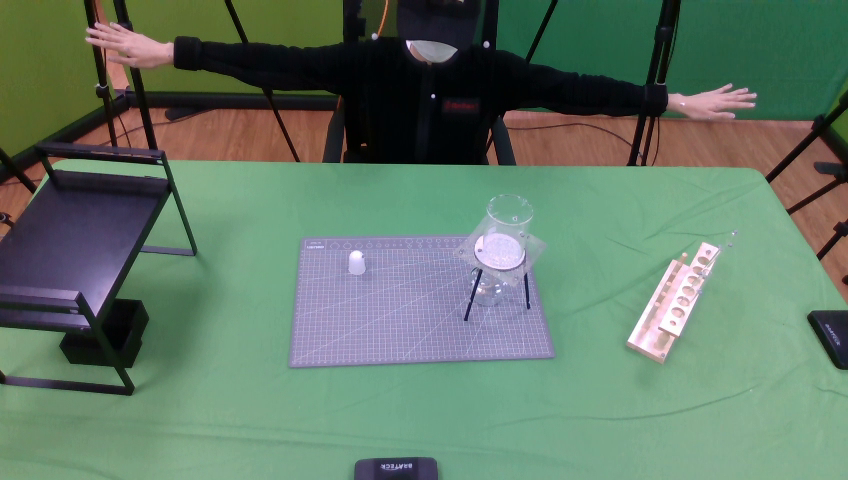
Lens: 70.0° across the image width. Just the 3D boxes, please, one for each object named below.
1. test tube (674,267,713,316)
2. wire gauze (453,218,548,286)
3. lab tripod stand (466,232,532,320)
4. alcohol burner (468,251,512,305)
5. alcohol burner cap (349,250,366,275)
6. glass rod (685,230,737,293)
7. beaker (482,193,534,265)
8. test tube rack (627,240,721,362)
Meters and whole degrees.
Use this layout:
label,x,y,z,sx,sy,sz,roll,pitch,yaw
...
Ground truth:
label,x,y,z,sx,sy,sz,roll,pitch,yaw
test tube,0.445,0.098,1.017,0.017,0.151,0.017,4,49,-4
wire gauze,0.129,0.014,1.018,0.124,0.011,0.121,26,47,25
lab tripod stand,0.125,0.059,1.065,0.148,0.132,0.147,1,45,0
alcohol burner,0.119,0.061,1.077,0.078,0.120,0.077,1,47,-1
alcohol burner cap,-0.125,0.039,1.132,0.034,0.048,0.033,2,46,-2
glass rod,0.495,0.042,1.051,0.008,0.200,0.008,2,55,-2
beaker,0.135,-0.016,0.979,0.073,0.101,0.084,35,52,28
test tube rack,0.452,0.098,1.087,0.066,0.085,0.242,28,51,22
